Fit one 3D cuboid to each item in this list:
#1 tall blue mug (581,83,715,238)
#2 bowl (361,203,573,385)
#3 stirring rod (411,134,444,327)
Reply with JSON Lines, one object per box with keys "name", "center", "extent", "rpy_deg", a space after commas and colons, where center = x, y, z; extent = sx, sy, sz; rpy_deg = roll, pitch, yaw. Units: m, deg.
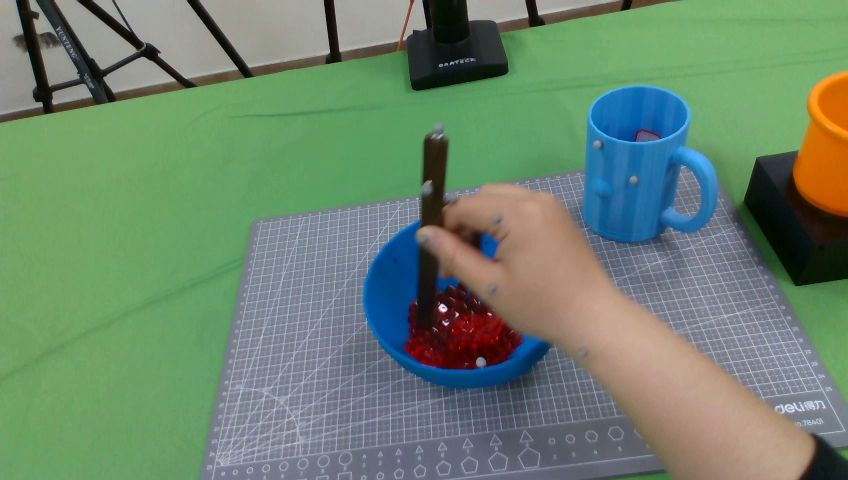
{"name": "tall blue mug", "center": [0.187, -0.061, 0.503], "extent": [0.106, 0.109, 0.077], "rpy_deg": [13, 51, 22]}
{"name": "bowl", "center": [0.034, 0.052, 0.454], "extent": [0.151, 0.077, 0.150], "rpy_deg": [-6, 47, 6]}
{"name": "stirring rod", "center": [0.001, 0.004, 0.376], "extent": [0.014, 0.177, 0.005], "rpy_deg": [7, 49, 4]}
